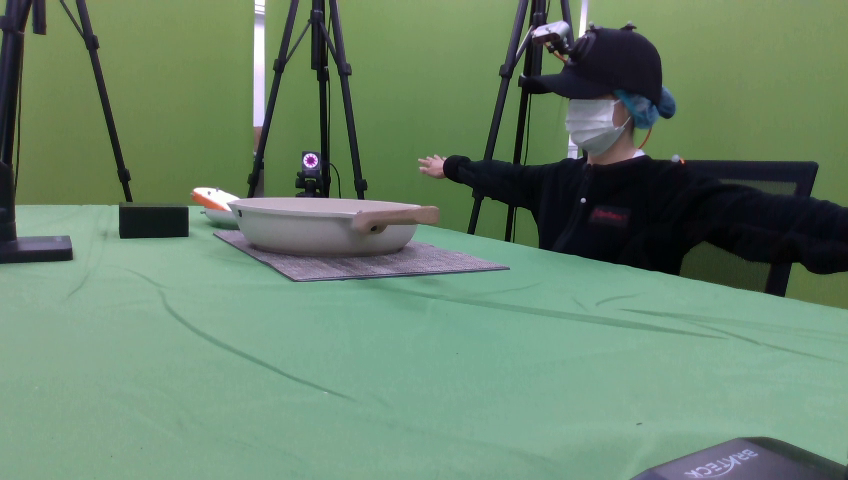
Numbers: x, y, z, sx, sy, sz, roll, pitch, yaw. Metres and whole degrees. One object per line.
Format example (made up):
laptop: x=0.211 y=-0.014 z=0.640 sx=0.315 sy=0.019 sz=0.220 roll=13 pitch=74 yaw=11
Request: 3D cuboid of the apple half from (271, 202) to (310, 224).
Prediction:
apple half: x=-0.262 y=-0.059 z=1.178 sx=0.081 sy=0.033 sz=0.081 roll=-22 pitch=2 yaw=1

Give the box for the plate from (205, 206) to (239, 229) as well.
plate: x=-0.324 y=-0.046 z=1.199 sx=0.208 sy=0.039 sz=0.207 roll=3 pitch=7 yaw=0

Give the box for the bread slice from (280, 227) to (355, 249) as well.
bread slice: x=-0.170 y=-0.004 z=0.942 sx=0.107 sy=0.018 sz=0.134 roll=2 pitch=7 yaw=-15

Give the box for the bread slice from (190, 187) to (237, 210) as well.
bread slice: x=-0.402 y=-0.074 z=1.218 sx=0.131 sy=0.019 sz=0.105 roll=26 pitch=12 yaw=15

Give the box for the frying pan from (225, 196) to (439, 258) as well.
frying pan: x=-0.103 y=-0.027 z=0.845 sx=0.308 sy=0.102 sz=0.486 roll=-1 pitch=0 yaw=-25
